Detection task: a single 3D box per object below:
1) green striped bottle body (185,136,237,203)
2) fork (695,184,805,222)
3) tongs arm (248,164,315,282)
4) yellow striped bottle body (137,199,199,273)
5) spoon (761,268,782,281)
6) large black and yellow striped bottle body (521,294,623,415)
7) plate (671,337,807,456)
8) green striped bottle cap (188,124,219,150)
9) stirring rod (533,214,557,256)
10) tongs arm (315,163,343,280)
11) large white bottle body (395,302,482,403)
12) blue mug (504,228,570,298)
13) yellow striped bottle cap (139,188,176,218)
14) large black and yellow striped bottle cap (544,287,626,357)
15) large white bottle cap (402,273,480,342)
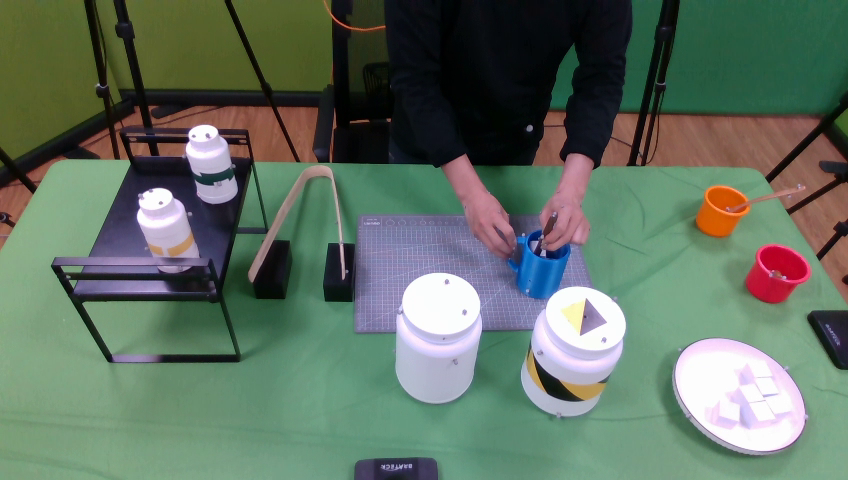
[{"bbox_3d":[-0.341,-0.121,0.968,0.063,0.120,0.063,2,46,-2],"label":"green striped bottle body"},{"bbox_3d":[0.657,-0.075,1.230,0.207,0.019,0.028,-23,32,37],"label":"fork"},{"bbox_3d":[-0.269,-0.048,1.165,0.028,0.028,0.385,0,34,7],"label":"tongs arm"},{"bbox_3d":[-0.366,-0.014,0.863,0.063,0.121,0.062,2,46,-2],"label":"yellow striped bottle body"},{"bbox_3d":[0.638,0.060,1.105,0.041,0.021,0.194,38,11,25],"label":"spoon"},{"bbox_3d":[0.228,0.173,0.938,0.131,0.185,0.130,2,47,-2],"label":"large black and yellow striped bottle body"},{"bbox_3d":[0.503,0.254,0.984,0.208,0.039,0.206,2,46,-2],"label":"plate"},{"bbox_3d":[-0.339,-0.158,0.931,0.044,0.020,0.044,3,47,-3],"label":"green striped bottle cap"},{"bbox_3d":[0.200,0.015,1.062,0.014,0.177,0.006,-14,54,-23],"label":"stirring rod"},{"bbox_3d":[-0.187,-0.049,1.170,0.051,0.026,0.382,-5,35,-6],"label":"tongs arm"},{"bbox_3d":[0.020,0.153,0.939,0.131,0.185,0.130,2,46,-2],"label":"large white bottle body"},{"bbox_3d":[0.202,0.037,1.116,0.116,0.106,0.082,23,49,17],"label":"blue mug"},{"bbox_3d":[-0.363,-0.050,0.826,0.044,0.019,0.044,1,47,0],"label":"yellow striped bottle cap"},{"bbox_3d":[0.232,0.116,0.876,0.115,0.019,0.114,2,46,-1],"label":"large black and yellow striped bottle cap"},{"bbox_3d":[0.024,0.095,0.878,0.115,0.018,0.114,2,47,-2],"label":"large white bottle cap"}]
